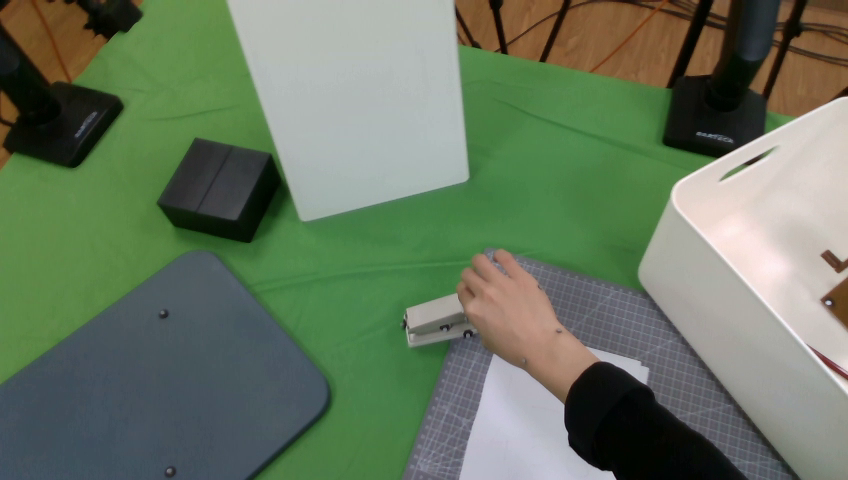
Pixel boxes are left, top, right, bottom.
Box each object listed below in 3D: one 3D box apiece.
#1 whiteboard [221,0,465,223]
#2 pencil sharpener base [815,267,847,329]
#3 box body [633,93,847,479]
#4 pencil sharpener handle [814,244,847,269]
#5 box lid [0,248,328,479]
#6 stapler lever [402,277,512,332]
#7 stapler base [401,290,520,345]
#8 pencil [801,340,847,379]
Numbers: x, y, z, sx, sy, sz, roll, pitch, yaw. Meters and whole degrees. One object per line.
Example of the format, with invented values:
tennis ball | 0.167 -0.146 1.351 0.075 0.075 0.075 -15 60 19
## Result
whiteboard | -0.087 -0.204 0.701 0.217 0.308 0.142 -14 41 -6
pencil sharpener base | 0.464 0.045 0.611 0.061 0.108 0.076 -27 62 -15
box body | 0.410 0.070 0.572 0.254 0.162 0.360 -27 63 -13
pencil sharpener handle | 0.435 0.002 0.622 0.036 0.068 0.030 -20 59 -26
box lid | -0.311 0.191 0.617 0.371 0.015 0.261 -40 66 -19
stapler lever | 0.033 0.067 0.633 0.118 0.040 0.026 -13 57 2
stapler base | 0.038 0.079 0.655 0.130 0.025 0.041 -13 57 2
pencil | 0.447 0.150 0.607 0.192 0.012 0.012 39 68 25
